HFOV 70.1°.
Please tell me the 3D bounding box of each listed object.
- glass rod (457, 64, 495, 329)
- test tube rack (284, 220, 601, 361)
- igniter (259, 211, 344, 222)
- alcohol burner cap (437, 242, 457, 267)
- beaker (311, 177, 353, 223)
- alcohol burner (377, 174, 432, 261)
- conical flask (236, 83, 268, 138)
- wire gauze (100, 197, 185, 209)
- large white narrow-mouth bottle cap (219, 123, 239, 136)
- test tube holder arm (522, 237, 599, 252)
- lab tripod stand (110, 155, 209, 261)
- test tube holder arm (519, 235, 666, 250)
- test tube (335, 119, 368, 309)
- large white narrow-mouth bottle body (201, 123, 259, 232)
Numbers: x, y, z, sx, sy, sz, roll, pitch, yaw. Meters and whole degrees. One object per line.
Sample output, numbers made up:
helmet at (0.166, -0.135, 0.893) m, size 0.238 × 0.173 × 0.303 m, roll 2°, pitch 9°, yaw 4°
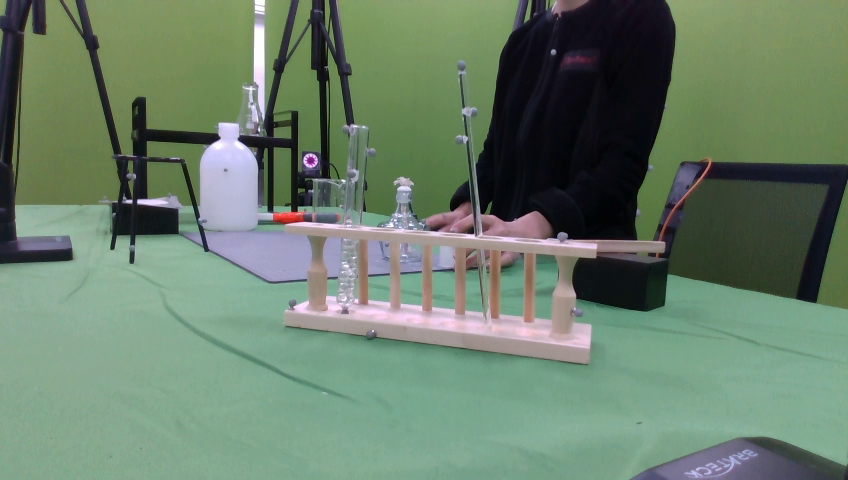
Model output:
glass rod at (0.040, -0.029, 0.449) m, size 0.008 × 0.199 × 0.008 m, roll -7°, pitch 9°, yaw 1°
test tube rack at (0.013, 0.032, 0.482) m, size 0.242 × 0.085 × 0.067 m, roll 4°, pitch 7°, yaw 16°
igniter at (-0.302, -0.047, 1.249) m, size 0.278 × 0.025 × 0.057 m, roll -2°, pitch -2°, yaw -27°
alcohol burner cap at (0.036, 0.010, 0.802) m, size 0.034 × 0.048 × 0.034 m, roll 7°, pitch 12°, yaw -1°
beaker at (-0.167, -0.064, 1.106) m, size 0.074 × 0.100 × 0.083 m, roll -2°, pitch 9°, yaw -26°
alcohol burner at (-0.027, -0.031, 0.838) m, size 0.078 × 0.119 × 0.078 m, roll 0°, pitch 6°, yaw 0°
conical flask at (-0.400, -0.298, 1.396) m, size 0.075 × 0.122 × 0.075 m, roll 2°, pitch 8°, yaw 0°
wire gauze at (-0.469, -0.062, 1.008) m, size 0.126 × 0.011 × 0.121 m, roll -2°, pitch 8°, yaw -25°
large white narrow-mouth bottle cap at (-0.356, -0.201, 1.104) m, size 0.038 × 0.024 × 0.037 m, roll 2°, pitch 8°, yaw 0°
test tube holder arm at (0.144, 0.005, 0.636) m, size 0.088 × 0.015 × 0.010 m, roll -1°, pitch 15°, yaw -19°
lab tripod stand at (-0.361, -0.046, 0.806) m, size 0.148 × 0.131 × 0.148 m, roll 2°, pitch 5°, yaw 0°
test tube holder arm at (0.185, 0.003, 0.656) m, size 0.179 × 0.015 × 0.013 m, roll -1°, pitch 15°, yaw -19°
test tube at (-0.057, -0.019, 0.477) m, size 0.017 × 0.150 × 0.017 m, roll 6°, pitch 9°, yaw -1°
large white narrow-mouth bottle body at (-0.358, -0.116, 1.116) m, size 0.102 × 0.194 × 0.102 m, roll 2°, pitch 8°, yaw 0°
